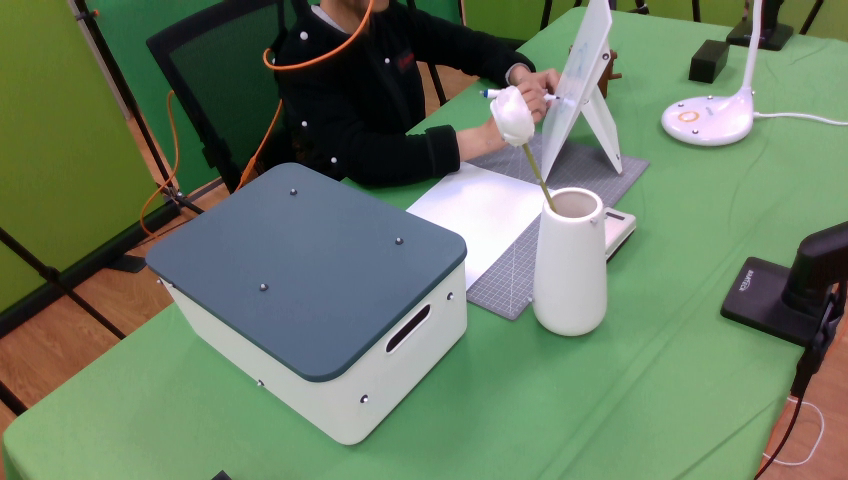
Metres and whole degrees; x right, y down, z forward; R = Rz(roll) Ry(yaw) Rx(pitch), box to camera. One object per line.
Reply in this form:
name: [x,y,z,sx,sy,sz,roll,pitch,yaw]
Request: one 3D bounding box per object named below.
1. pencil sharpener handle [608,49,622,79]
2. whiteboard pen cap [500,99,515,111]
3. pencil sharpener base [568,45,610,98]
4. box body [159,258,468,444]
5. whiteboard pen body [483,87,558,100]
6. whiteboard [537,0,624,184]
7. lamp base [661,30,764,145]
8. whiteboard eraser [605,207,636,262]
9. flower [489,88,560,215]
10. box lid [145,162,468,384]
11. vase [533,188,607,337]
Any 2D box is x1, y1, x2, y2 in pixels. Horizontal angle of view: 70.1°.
pencil sharpener handle: [0.394,-0.368,1.253,0.030,0.068,0.036,-9,32,1]
whiteboard pen cap: [0.177,-0.287,1.289,0.033,0.018,0.018,-37,48,-27]
pencil sharpener base: [0.345,-0.352,1.263,0.077,0.107,0.061,-9,40,1]
box body: [-0.147,0.072,0.816,0.361,0.161,0.255,24,50,33]
whiteboard pen body: [0.178,-0.266,1.102,0.141,0.017,0.017,2,40,-4]
whiteboard: [0.316,-0.256,1.047,0.144,0.306,0.216,15,42,-1]
lamp base: [0.535,-0.287,1.096,0.179,0.181,0.159,-10,40,-4]
whiteboard eraser: [0.273,-0.003,0.919,0.055,0.042,0.113,27,51,33]
flower: [0.158,-0.027,0.720,0.038,0.364,0.044,-14,44,23]
box lid: [-0.157,0.014,0.769,0.368,0.015,0.264,25,51,33]
vase: [0.187,0.033,0.771,0.098,0.201,0.097,-6,41,6]
